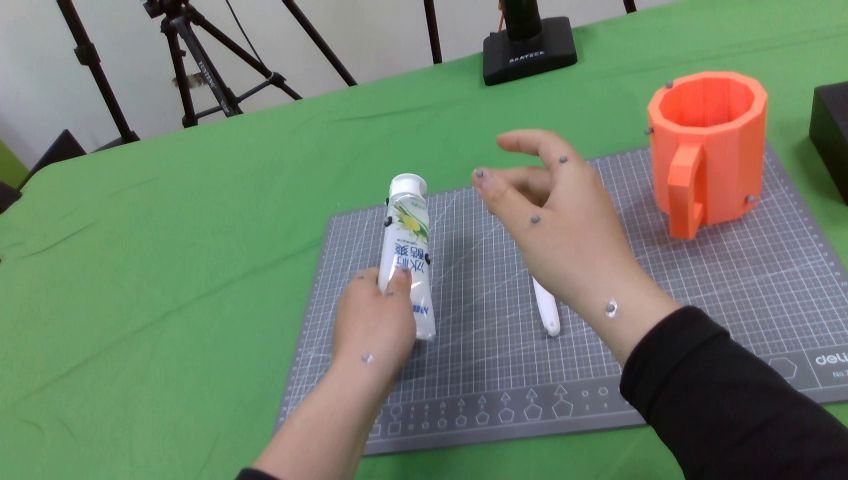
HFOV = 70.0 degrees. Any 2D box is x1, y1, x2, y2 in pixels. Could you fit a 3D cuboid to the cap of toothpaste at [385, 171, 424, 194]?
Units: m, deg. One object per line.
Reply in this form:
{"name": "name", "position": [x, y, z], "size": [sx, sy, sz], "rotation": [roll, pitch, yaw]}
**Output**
{"name": "cap of toothpaste", "position": [-0.018, -0.050, 0.570], "size": [0.037, 0.038, 0.011], "rotation": [-9, 51, 16]}

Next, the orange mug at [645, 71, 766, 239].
{"name": "orange mug", "position": [0.224, -0.065, 0.495], "size": [0.083, 0.102, 0.126], "rotation": [11, 48, 34]}

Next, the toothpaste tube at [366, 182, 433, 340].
{"name": "toothpaste tube", "position": [-0.020, 0.010, 0.523], "size": [0.055, 0.035, 0.163], "rotation": [7, 51, -11]}

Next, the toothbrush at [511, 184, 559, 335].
{"name": "toothbrush", "position": [0.097, 0.010, 0.538], "size": [0.014, 0.017, 0.180], "rotation": [-6, 44, 2]}
